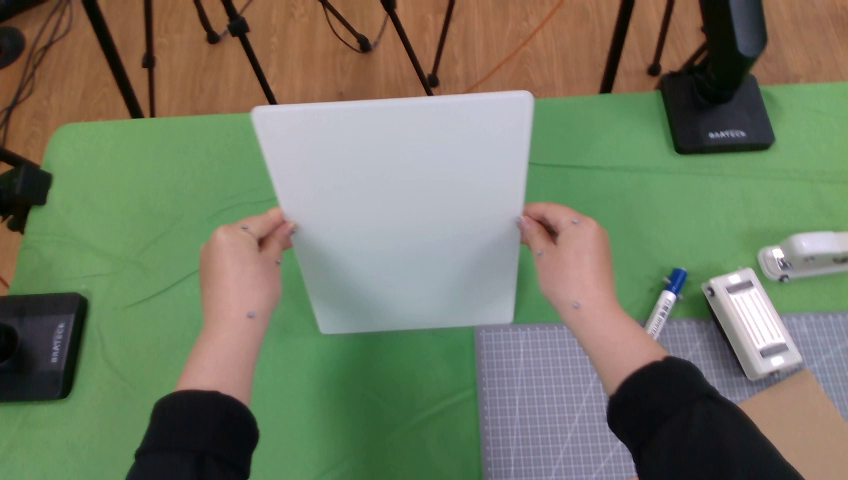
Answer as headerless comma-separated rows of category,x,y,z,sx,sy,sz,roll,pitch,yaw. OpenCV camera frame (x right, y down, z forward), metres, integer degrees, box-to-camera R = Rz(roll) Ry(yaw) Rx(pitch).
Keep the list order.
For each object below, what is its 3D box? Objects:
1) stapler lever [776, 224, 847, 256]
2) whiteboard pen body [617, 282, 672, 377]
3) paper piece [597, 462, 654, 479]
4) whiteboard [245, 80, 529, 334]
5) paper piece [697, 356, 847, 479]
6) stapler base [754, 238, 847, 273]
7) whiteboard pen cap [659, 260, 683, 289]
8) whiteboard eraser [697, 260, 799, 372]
stapler lever,0.446,-0.002,0.664,0.118,0.040,0.026,-8,69,-2
whiteboard pen body,0.246,0.086,0.660,0.017,0.017,0.140,29,71,14
paper piece,0.181,0.300,0.576,0.135,0.004,0.134,-17,67,-5
whiteboard,-0.020,-0.056,0.610,0.217,0.308,0.142,-3,47,2
paper piece,0.370,0.208,0.609,0.136,0.009,0.137,-25,70,-4
stapler base,0.445,0.008,0.686,0.131,0.024,0.041,-8,70,-3
whiteboard pen cap,0.276,0.040,0.678,0.018,0.018,0.033,27,68,13
whiteboard eraser,0.342,0.080,0.645,0.055,0.042,0.111,-17,67,-3
